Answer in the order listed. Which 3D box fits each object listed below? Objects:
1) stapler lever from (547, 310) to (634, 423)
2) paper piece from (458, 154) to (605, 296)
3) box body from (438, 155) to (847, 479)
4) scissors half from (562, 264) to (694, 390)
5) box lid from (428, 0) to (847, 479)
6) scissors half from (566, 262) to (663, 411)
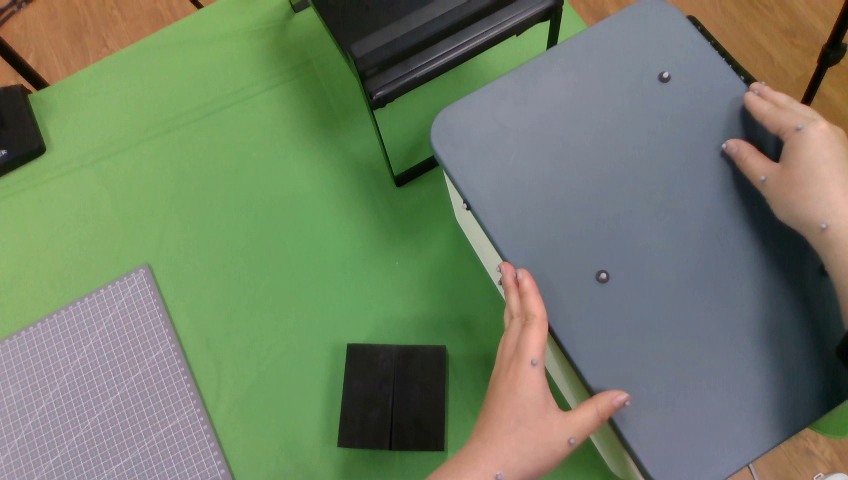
[{"bbox_3d":[0.161,0.121,0.591,0.027,0.040,0.117,-34,75,5],"label":"stapler lever"},{"bbox_3d":[0.124,-0.019,0.689,0.136,0.008,0.137,-17,83,-8],"label":"paper piece"},{"bbox_3d":[0.205,0.012,0.580,0.254,0.161,0.361,-29,71,-5],"label":"box body"},{"bbox_3d":[0.209,0.085,0.631,0.040,0.013,0.174,-40,67,-15],"label":"scissors half"},{"bbox_3d":[0.195,-0.024,0.495,0.263,0.015,0.369,-30,74,-6],"label":"box lid"},{"bbox_3d":[0.190,0.095,0.629,0.040,0.013,0.173,-22,64,-1],"label":"scissors half"}]
